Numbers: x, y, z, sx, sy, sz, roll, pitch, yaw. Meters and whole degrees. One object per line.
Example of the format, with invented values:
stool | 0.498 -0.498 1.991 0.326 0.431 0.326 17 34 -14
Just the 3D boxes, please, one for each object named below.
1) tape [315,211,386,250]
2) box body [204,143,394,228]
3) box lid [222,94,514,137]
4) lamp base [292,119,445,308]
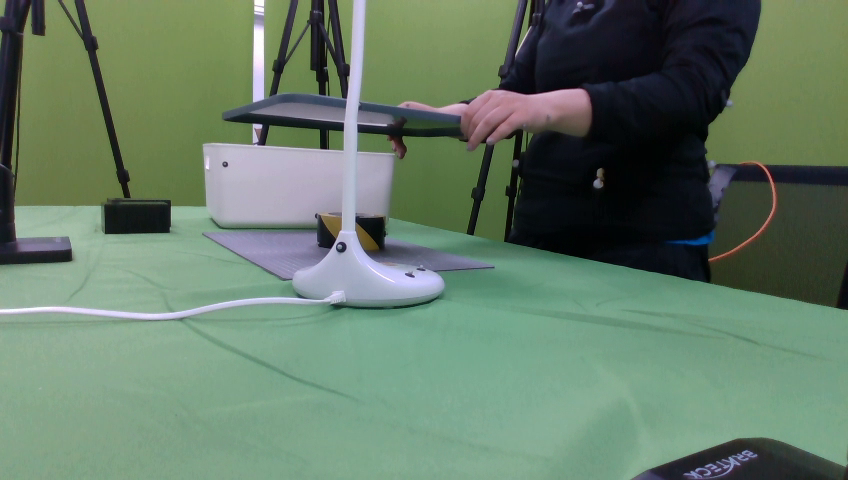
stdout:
tape | -0.119 -0.017 0.973 0.117 0.052 0.117 2 6 0
box body | -0.271 -0.117 1.292 0.366 0.160 0.253 -1 8 -25
box lid | -0.080 -0.173 0.884 0.374 0.015 0.262 -2 6 -36
lamp base | -0.056 -0.030 0.616 0.160 0.180 0.179 3 10 8
